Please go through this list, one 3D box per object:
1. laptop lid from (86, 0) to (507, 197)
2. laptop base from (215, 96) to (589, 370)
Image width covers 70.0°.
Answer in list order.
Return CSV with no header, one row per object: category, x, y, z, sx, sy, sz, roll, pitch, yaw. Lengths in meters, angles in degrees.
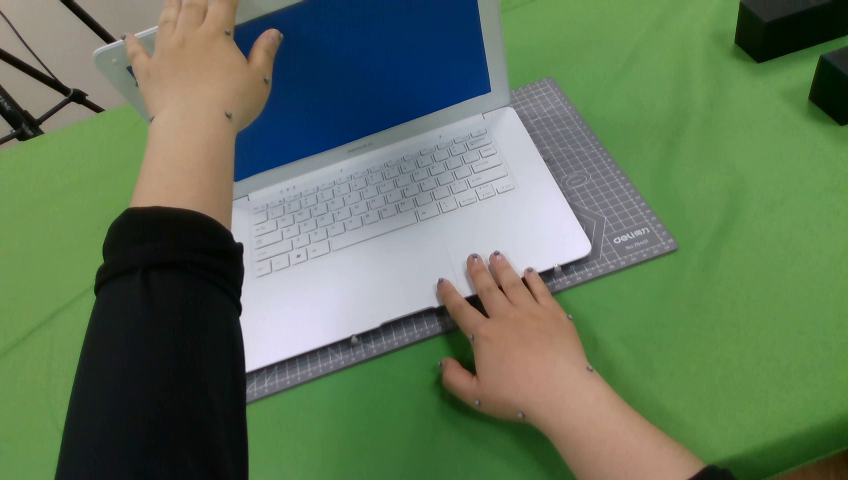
laptop lid,-0.095,-0.164,0.591,0.357,0.244,0.013,-21,58,3
laptop base,-0.042,-0.019,0.614,0.354,0.023,0.233,-19,51,1
